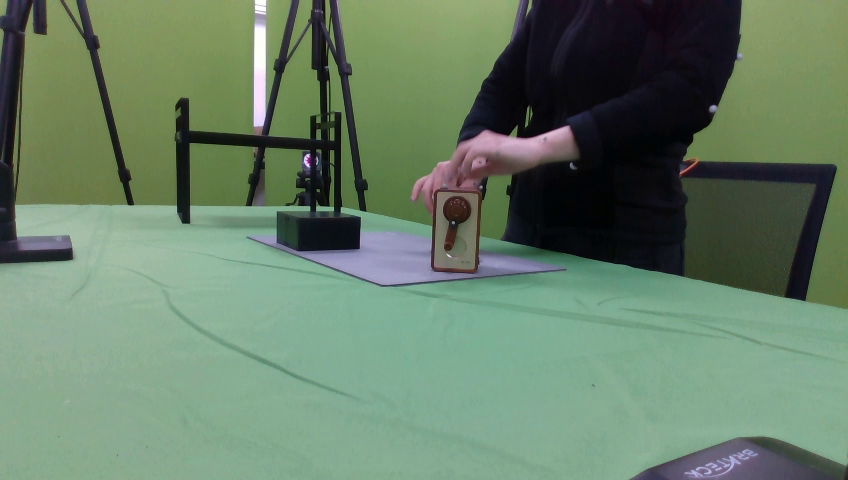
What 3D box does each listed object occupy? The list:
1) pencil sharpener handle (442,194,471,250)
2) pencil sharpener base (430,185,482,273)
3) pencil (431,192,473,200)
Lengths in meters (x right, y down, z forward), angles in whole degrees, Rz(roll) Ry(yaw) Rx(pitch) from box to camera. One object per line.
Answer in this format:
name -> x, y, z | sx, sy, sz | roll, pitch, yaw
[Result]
pencil sharpener handle -> 0.036, -0.021, 0.731 | 0.036, 0.067, 0.030 | 11, 8, 3
pencil sharpener base -> 0.042, -0.015, 0.783 | 0.061, 0.107, 0.077 | 3, 8, 4
pencil -> 0.042, -0.068, 0.948 | 0.012, 0.012, 0.193 | 0, 5, -16
